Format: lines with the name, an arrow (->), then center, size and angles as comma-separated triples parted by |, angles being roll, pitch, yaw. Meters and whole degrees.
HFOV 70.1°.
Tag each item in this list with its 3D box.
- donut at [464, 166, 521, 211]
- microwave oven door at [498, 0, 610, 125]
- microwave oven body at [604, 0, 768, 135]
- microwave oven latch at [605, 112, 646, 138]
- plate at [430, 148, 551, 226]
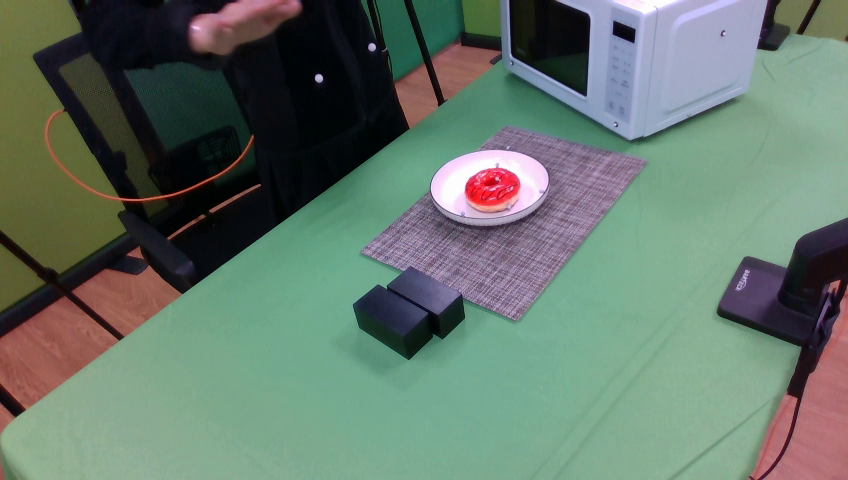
donut -> 0.117, -0.089, 1.031 | 0.099, 0.048, 0.098 | -7, 41, 7
microwave oven door -> 0.261, -0.410, 1.219 | 0.039, 0.245, 0.352 | -24, 42, -17
microwave oven body -> 0.410, -0.441, 1.235 | 0.327, 0.261, 0.437 | -25, 42, -16
microwave oven latch -> 0.375, -0.217, 1.130 | 0.030, 0.029, 0.078 | -25, 42, -16
plate -> 0.114, -0.089, 1.049 | 0.209, 0.038, 0.208 | -5, 40, 5
